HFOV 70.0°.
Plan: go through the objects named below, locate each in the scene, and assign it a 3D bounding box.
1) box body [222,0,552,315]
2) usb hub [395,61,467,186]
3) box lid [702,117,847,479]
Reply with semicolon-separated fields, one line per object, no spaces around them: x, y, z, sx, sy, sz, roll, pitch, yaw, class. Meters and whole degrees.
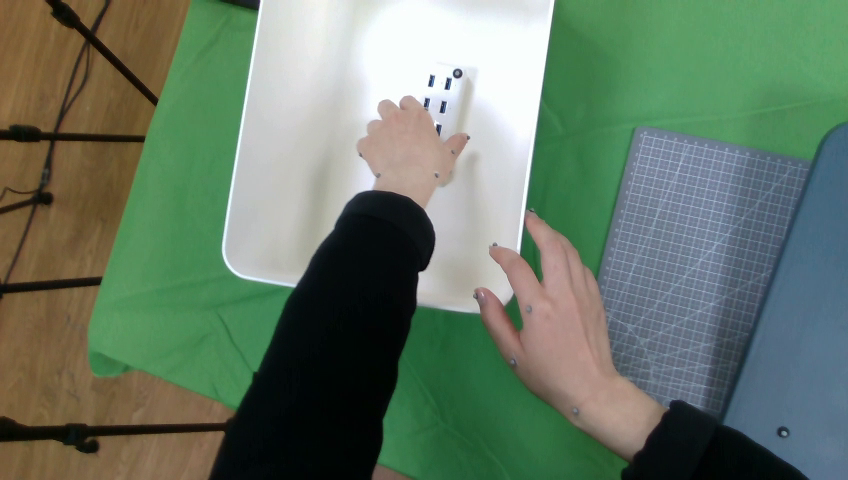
-0.017;-0.125;0.583;0.253;0.161;0.363;7;87;10;box body
0.008;-0.123;0.641;0.049;0.025;0.125;13;88;10;usb hub
0.430;0.098;0.535;0.262;0.015;0.372;16;101;11;box lid
